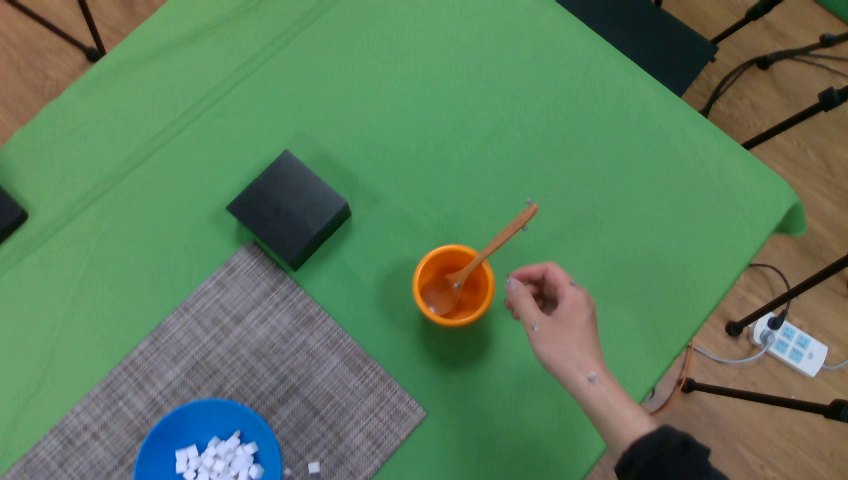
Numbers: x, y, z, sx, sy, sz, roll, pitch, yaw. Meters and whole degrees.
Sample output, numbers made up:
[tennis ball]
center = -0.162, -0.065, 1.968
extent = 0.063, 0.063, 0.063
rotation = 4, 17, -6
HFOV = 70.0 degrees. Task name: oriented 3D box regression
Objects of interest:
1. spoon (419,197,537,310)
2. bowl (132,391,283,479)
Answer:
[spoon]
center = 0.058, 0.018, 0.676
extent = 0.041, 0.194, 0.022
rotation = 51, 36, 10
[bowl]
center = -0.219, 0.238, 0.648
extent = 0.151, 0.077, 0.150
rotation = 0, 77, -1
